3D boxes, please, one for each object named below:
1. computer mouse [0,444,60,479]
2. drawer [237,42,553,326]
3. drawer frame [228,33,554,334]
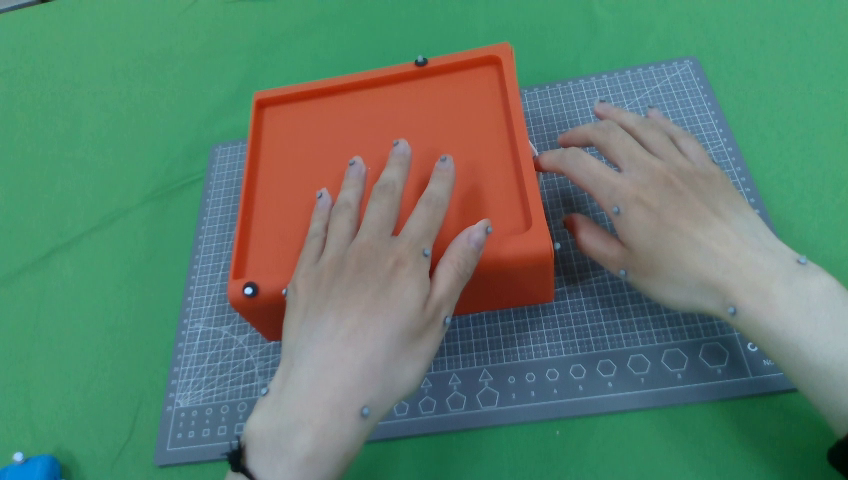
[{"bbox_3d":[-0.273,0.192,0.394,0.063,0.041,0.116,-25,52,-2],"label":"computer mouse"},{"bbox_3d":[-0.019,-0.044,0.457,0.211,0.074,0.192,-8,58,7],"label":"drawer"},{"bbox_3d":[-0.022,-0.043,0.457,0.213,0.083,0.199,-10,57,7],"label":"drawer frame"}]
